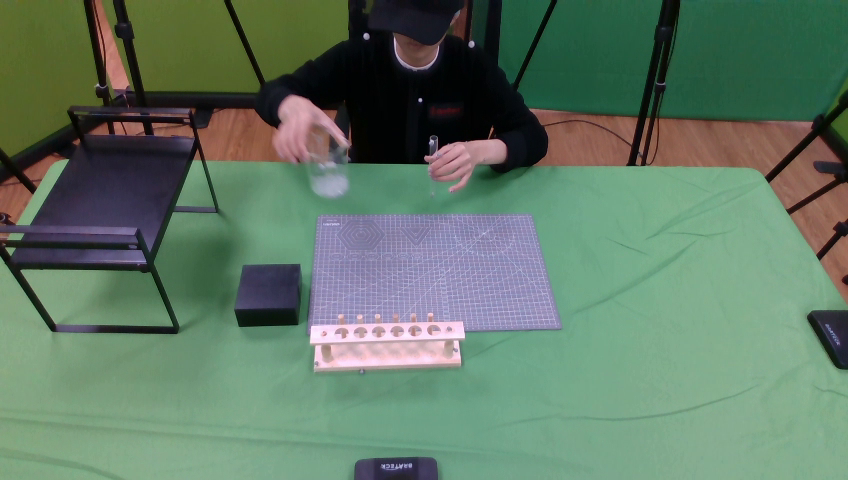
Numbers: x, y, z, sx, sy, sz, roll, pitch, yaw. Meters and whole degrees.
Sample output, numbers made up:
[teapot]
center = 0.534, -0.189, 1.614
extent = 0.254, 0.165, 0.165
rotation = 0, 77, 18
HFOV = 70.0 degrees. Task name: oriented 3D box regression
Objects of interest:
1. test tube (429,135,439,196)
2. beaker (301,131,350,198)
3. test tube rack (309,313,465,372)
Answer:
[test tube]
center = 0.019, -0.142, 1.176
extent = 0.017, 0.151, 0.017
rotation = 0, 49, 0
[beaker]
center = -0.169, -0.132, 1.078
extent = 0.084, 0.101, 0.073
rotation = -11, 46, -9
[test tube rack]
center = -0.059, 0.161, 0.990
extent = 0.242, 0.085, 0.066
rotation = -1, 46, -5
